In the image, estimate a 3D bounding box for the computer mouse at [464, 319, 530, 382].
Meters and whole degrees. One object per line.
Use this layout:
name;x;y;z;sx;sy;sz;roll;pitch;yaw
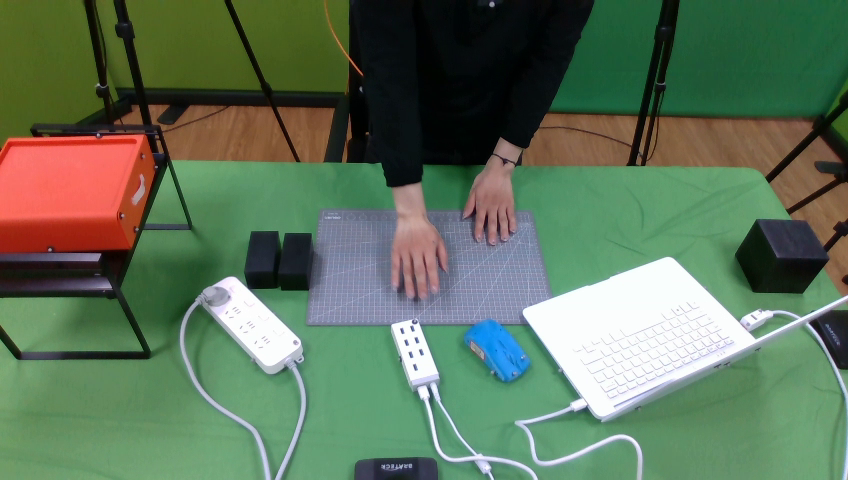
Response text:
computer mouse;0.124;0.182;1.023;0.063;0.041;0.116;-28;58;-28

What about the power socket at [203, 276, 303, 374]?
power socket;-0.296;0.141;1.034;0.072;0.033;0.225;-35;58;-31

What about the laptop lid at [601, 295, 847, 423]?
laptop lid;0.449;0.180;0.905;0.357;0.242;0.013;-17;64;-20

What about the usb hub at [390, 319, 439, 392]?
usb hub;-0.016;0.190;1.013;0.049;0.025;0.124;-11;48;-15

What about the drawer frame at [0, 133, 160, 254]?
drawer frame;-0.547;-0.075;0.939;0.214;0.083;0.200;-3;47;-6

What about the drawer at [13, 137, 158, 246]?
drawer;-0.545;-0.075;0.942;0.212;0.073;0.193;-3;47;-6

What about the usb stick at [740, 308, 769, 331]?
usb stick;0.587;0.145;1.088;0.059;0.027;0.021;-21;48;-17

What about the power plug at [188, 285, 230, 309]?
power plug;-0.369;0.103;1.039;0.072;0.053;0.035;-26;54;-23

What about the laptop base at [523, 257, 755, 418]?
laptop base;0.380;0.159;1.077;0.355;0.023;0.234;-17;47;-20
